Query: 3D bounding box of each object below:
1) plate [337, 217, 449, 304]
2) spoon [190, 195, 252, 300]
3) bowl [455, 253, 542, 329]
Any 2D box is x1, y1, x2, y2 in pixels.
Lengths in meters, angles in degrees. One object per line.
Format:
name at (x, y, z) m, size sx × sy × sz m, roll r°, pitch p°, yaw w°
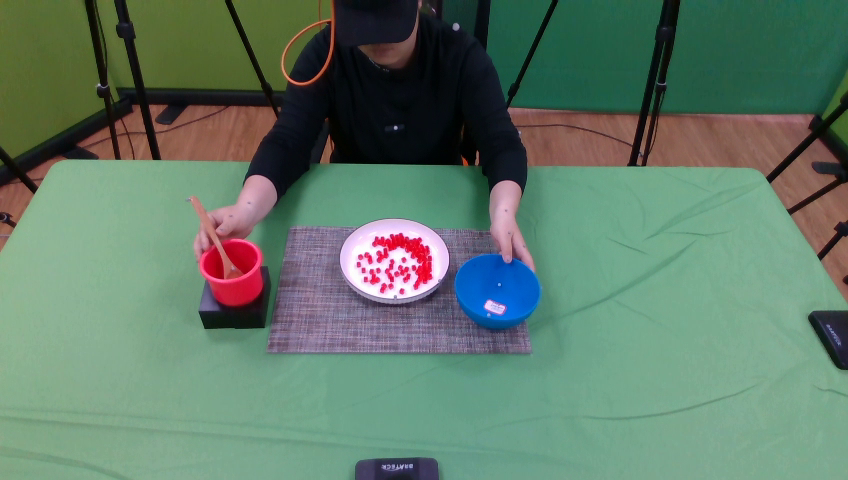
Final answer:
plate at (-0.058, 0.042, 1.137) m, size 0.208 × 0.039 × 0.206 m, roll 2°, pitch 46°, yaw -2°
spoon at (-0.339, 0.012, 1.007) m, size 0.041 × 0.021 × 0.194 m, roll -27°, pitch 97°, yaw -26°
bowl at (0.125, 0.103, 1.063) m, size 0.151 × 0.077 × 0.150 m, roll 2°, pitch 46°, yaw -2°
